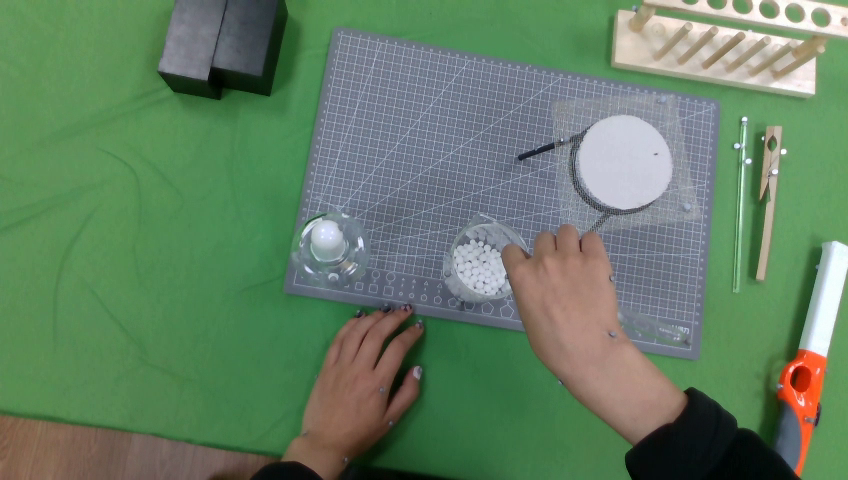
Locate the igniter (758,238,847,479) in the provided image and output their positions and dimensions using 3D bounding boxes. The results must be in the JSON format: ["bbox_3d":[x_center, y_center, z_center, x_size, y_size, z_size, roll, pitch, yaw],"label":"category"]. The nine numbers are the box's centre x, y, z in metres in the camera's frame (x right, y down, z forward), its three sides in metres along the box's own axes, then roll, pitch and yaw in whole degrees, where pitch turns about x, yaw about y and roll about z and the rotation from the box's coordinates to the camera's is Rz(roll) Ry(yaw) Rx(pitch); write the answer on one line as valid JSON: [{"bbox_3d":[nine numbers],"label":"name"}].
[{"bbox_3d":[0.414,0.129,0.659,0.057,0.025,0.275,22,80,-12],"label":"igniter"}]

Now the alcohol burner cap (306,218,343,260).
[{"bbox_3d":[-0.090,-0.003,0.547,0.034,0.048,0.033,3,72,-8],"label":"alcohol burner cap"}]

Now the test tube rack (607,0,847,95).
[{"bbox_3d":[0.338,-0.225,0.673,0.243,0.085,0.066,7,81,-4],"label":"test tube rack"}]

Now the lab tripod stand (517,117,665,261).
[{"bbox_3d":[0.164,-0.060,0.605,0.148,0.132,0.148,1,82,-3],"label":"lab tripod stand"}]

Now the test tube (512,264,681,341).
[{"bbox_3d":[0.148,0.054,0.526,0.149,0.017,0.017,21,79,12],"label":"test tube"}]

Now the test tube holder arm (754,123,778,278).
[{"bbox_3d":[0.386,-0.045,0.684,0.013,0.015,0.178,4,80,30],"label":"test tube holder arm"}]

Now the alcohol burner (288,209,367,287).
[{"bbox_3d":[-0.093,0.004,0.581,0.078,0.119,0.077,1,79,-5],"label":"alcohol burner"}]

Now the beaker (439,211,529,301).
[{"bbox_3d":[0.054,0.021,0.601,0.074,0.100,0.083,-12,82,-7],"label":"beaker"}]

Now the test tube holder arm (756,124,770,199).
[{"bbox_3d":[0.388,-0.090,0.693,0.010,0.015,0.087,4,80,30],"label":"test tube holder arm"}]

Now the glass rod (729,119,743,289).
[{"bbox_3d":[0.354,-0.043,0.687,0.008,0.008,0.199,8,81,-4],"label":"glass rod"}]

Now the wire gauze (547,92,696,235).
[{"bbox_3d":[0.174,-0.071,0.540,0.121,0.011,0.124,-5,82,-5],"label":"wire gauze"}]
